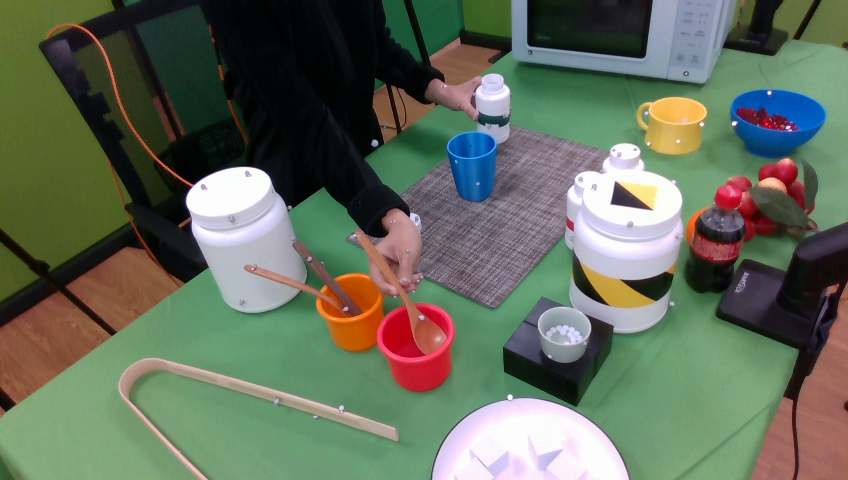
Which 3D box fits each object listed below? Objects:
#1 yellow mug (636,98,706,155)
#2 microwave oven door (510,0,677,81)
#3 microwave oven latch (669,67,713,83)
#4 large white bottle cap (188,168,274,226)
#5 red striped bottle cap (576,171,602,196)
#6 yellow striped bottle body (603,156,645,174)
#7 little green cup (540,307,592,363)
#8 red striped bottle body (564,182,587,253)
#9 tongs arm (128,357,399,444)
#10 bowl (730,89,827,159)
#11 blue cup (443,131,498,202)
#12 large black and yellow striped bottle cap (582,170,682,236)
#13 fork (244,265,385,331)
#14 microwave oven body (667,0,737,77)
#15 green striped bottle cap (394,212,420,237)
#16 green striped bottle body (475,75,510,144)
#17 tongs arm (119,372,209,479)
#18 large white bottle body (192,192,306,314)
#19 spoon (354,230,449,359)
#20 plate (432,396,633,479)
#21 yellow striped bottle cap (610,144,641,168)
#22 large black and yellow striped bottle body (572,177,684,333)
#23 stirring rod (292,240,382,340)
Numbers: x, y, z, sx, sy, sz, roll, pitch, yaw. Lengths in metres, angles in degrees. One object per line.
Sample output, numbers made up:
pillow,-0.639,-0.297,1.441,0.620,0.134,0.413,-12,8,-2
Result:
yellow mug,0.453,-0.217,1.128,0.100,0.064,0.129,-34,46,-27
microwave oven door,0.354,-0.478,1.290,0.353,0.245,0.039,15,45,25
microwave oven latch,0.556,-0.349,1.261,0.078,0.029,0.030,16,46,27
large white bottle cap,-0.264,-0.061,0.831,0.115,0.018,0.114,-4,40,4
red striped bottle cap,0.242,-0.081,0.876,0.044,0.018,0.044,-5,44,6
yellow striped bottle body,0.313,-0.089,0.956,0.063,0.121,0.062,-5,40,4
little green cup,0.169,0.115,0.721,0.061,0.039,0.061,-4,41,4
red striped bottle body,0.246,-0.041,0.910,0.063,0.120,0.062,-2,38,2
tongs arm,-0.213,0.205,0.755,0.382,0.026,0.051,12,46,23
bowl,0.615,-0.197,1.069,0.151,0.077,0.150,-5,40,5
blue cup,0.086,-0.122,1.040,0.092,0.100,0.092,-5,42,5
large black and yellow striped bottle cap,0.252,-0.048,0.735,0.115,0.019,0.114,-3,40,3
fork,-0.142,0.078,0.806,0.209,0.018,0.028,30,32,-23
microwave oven body,0.462,-0.552,1.368,0.439,0.261,0.326,14,45,26
green striped bottle cap,-0.028,-0.026,1.009,0.044,0.020,0.044,0,46,1
green striped bottle body,0.126,-0.239,1.108,0.063,0.120,0.063,-4,43,4
tongs arm,-0.258,0.257,0.700,0.384,0.028,0.028,24,55,34
large white bottle body,-0.256,0.004,0.885,0.130,0.185,0.130,-4,40,4
spoon,-0.029,0.067,0.756,0.042,0.194,0.021,-36,11,-21
plate,0.112,0.261,0.634,0.209,0.038,0.208,-5,40,4
yellow striped bottle cap,0.307,-0.128,0.923,0.044,0.019,0.044,-5,40,5
large black and yellow striped bottle body,0.262,0.017,0.788,0.131,0.185,0.130,-5,40,4
stirring rod,-0.119,0.068,0.826,0.176,0.006,0.014,49,58,-4
